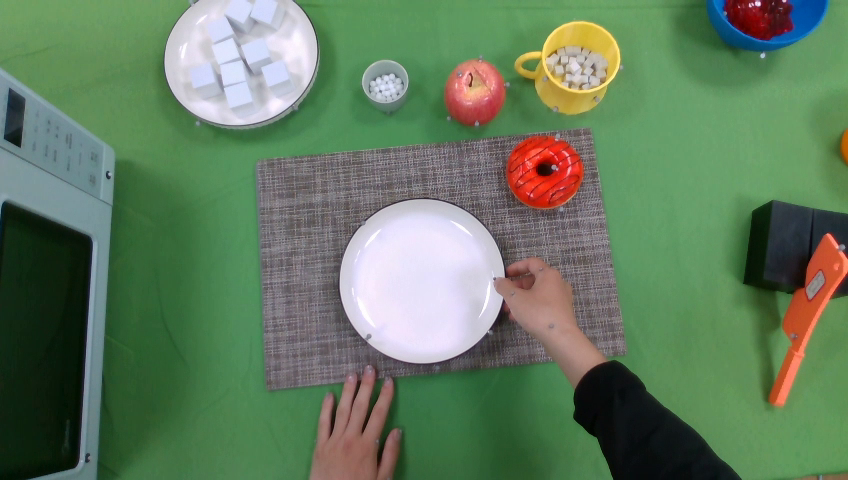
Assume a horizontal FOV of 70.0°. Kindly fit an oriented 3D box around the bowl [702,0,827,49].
[{"bbox_3d":[0.436,-0.313,0.806,0.151,0.077,0.150,0,79,1],"label":"bowl"}]

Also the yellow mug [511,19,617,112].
[{"bbox_3d":[0.180,-0.230,0.800,0.131,0.064,0.099,5,78,3],"label":"yellow mug"}]

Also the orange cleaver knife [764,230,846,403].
[{"bbox_3d":[0.443,0.093,0.719,0.012,0.077,0.212,13,111,6],"label":"orange cleaver knife"}]

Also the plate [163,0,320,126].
[{"bbox_3d":[-0.243,-0.248,0.823,0.208,0.039,0.206,0,78,1],"label":"plate"}]

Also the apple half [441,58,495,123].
[{"bbox_3d":[0.051,-0.187,0.789,0.053,0.075,0.080,-32,83,-1],"label":"apple half"}]

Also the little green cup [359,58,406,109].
[{"bbox_3d":[-0.054,-0.208,0.812,0.061,0.039,0.061,0,78,1],"label":"little green cup"}]

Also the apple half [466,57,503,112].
[{"bbox_3d":[0.084,-0.208,0.792,0.033,0.081,0.081,-33,79,-1],"label":"apple half"}]

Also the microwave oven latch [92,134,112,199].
[{"bbox_3d":[-0.419,-0.093,0.775,0.030,0.029,0.079,-1,79,0],"label":"microwave oven latch"}]

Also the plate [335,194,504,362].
[{"bbox_3d":[-0.005,0.047,0.756,0.209,0.038,0.208,0,79,1],"label":"plate"}]

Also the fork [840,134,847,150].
[{"bbox_3d":[0.626,-0.137,0.731,0.206,0.019,0.028,-8,71,44],"label":"fork"}]

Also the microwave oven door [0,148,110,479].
[{"bbox_3d":[-0.414,0.100,0.632,0.039,0.245,0.354,-3,78,1],"label":"microwave oven door"}]

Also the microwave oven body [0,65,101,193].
[{"bbox_3d":[-0.562,0.066,0.646,0.326,0.261,0.439,-3,79,0],"label":"microwave oven body"}]

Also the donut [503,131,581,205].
[{"bbox_3d":[0.151,-0.093,0.779,0.099,0.048,0.098,0,79,3],"label":"donut"}]
